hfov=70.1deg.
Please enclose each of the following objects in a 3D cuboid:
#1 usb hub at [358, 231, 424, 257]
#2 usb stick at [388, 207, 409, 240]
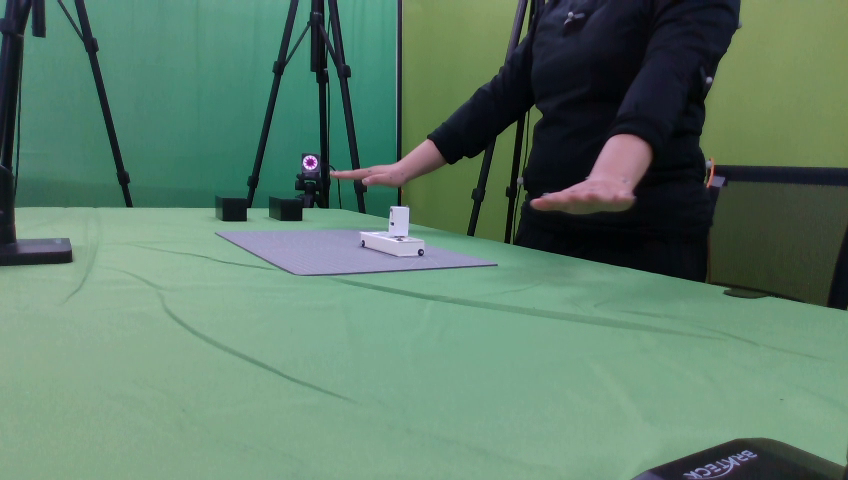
[{"bbox_3d":[-0.054,0.005,0.947,0.050,0.025,0.124,-3,9,-34],"label":"usb hub"},{"bbox_3d":[-0.040,-0.021,0.931,0.027,0.059,0.021,-5,11,-37],"label":"usb stick"}]
